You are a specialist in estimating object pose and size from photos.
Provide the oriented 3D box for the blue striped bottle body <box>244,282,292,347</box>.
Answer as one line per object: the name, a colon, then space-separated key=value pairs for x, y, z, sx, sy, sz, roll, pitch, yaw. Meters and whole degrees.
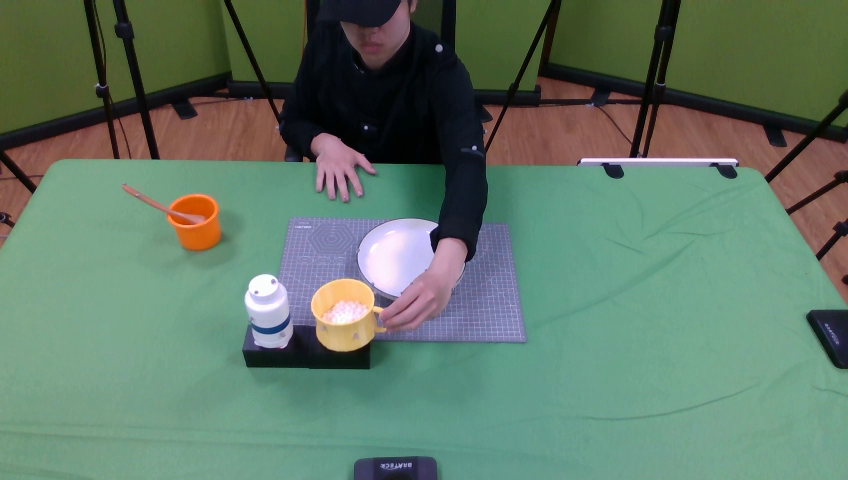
blue striped bottle body: x=-0.241 y=0.108 z=0.937 sx=0.063 sy=0.121 sz=0.062 roll=2 pitch=46 yaw=-2

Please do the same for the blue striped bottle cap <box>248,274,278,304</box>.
blue striped bottle cap: x=-0.239 y=0.072 z=0.900 sx=0.044 sy=0.021 sz=0.044 roll=4 pitch=46 yaw=-4

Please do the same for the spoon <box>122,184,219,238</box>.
spoon: x=-0.463 y=-0.052 z=1.117 sx=0.195 sy=0.021 sz=0.041 roll=28 pitch=37 yaw=-35

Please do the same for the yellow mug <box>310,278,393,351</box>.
yellow mug: x=-0.112 y=0.120 z=0.964 sx=0.131 sy=0.064 sz=0.099 roll=8 pitch=43 yaw=8

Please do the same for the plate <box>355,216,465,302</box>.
plate: x=-0.026 y=0.039 z=1.144 sx=0.208 sy=0.039 sz=0.206 roll=2 pitch=46 yaw=-2
